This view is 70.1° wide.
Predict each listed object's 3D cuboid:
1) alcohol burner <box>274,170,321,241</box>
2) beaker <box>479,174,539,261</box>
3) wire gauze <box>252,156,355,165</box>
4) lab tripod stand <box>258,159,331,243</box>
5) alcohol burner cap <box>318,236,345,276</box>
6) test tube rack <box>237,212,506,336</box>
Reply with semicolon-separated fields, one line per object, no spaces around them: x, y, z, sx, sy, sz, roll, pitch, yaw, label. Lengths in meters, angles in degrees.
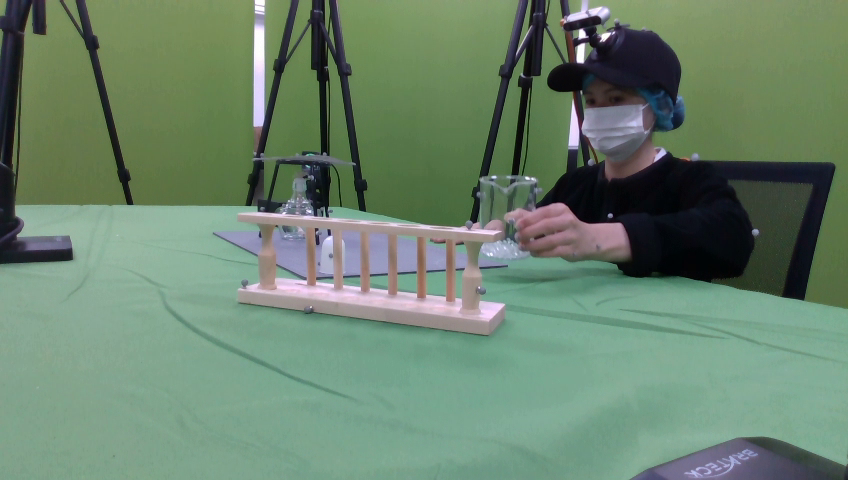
-0.212;-0.058;1.015;0.078;0.119;0.078;4;5;0;alcohol burner
0.105;-0.028;0.754;0.074;0.100;0.084;3;13;12;beaker
-0.196;-0.133;0.999;0.121;0.011;0.125;4;6;22;wire gauze
-0.202;-0.067;1.011;0.148;0.131;0.148;2;5;0;lab tripod stand
-0.110;0.019;0.723;0.034;0.048;0.034;2;6;0;alcohol burner cap
-0.049;0.024;0.552;0.242;0.085;0.067;5;8;18;test tube rack
